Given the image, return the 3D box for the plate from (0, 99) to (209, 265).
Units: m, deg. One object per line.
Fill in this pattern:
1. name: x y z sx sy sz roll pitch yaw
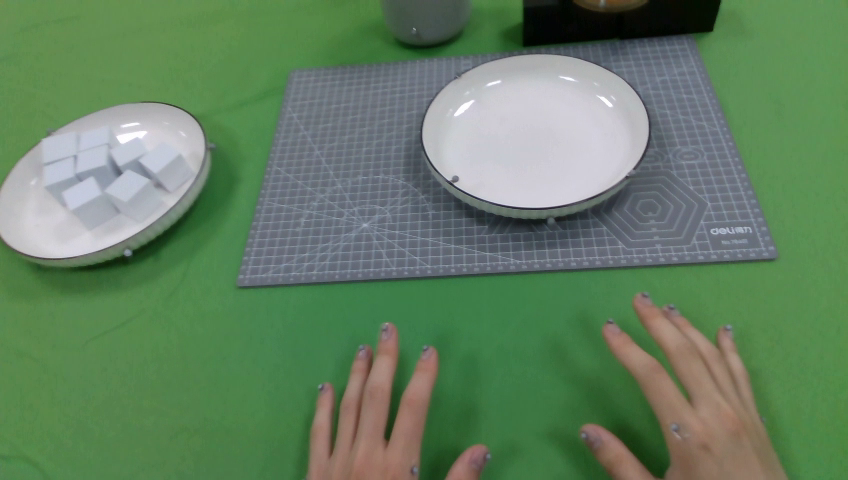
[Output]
1. plate: -0.311 -0.057 0.599 0.207 0.039 0.205 -4 53 5

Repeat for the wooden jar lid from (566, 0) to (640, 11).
1. wooden jar lid: 0.191 -0.277 0.640 0.108 0.021 0.107 -3 54 5

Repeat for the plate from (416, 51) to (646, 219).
1. plate: 0.097 -0.098 0.568 0.209 0.038 0.207 -4 53 6

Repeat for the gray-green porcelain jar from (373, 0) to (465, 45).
1. gray-green porcelain jar: -0.008 -0.294 0.678 0.106 0.128 0.105 -4 53 6
